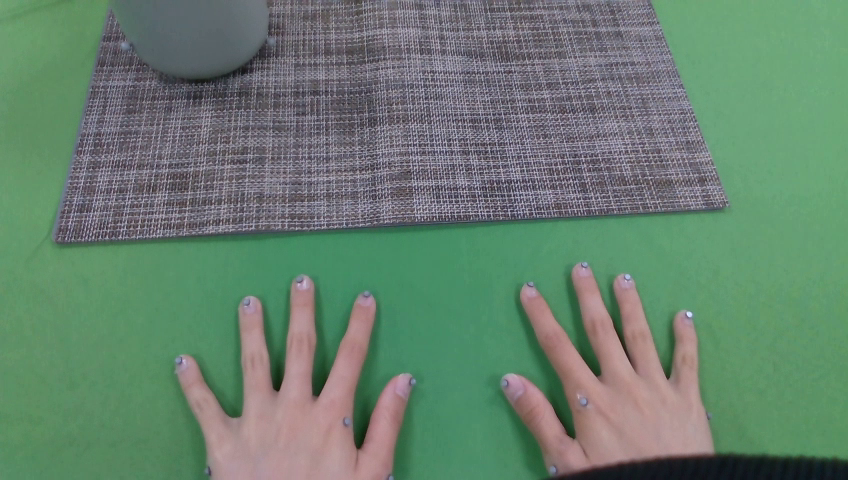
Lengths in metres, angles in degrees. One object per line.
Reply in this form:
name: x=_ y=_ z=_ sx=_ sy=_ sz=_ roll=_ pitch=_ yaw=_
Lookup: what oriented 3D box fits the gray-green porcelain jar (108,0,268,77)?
gray-green porcelain jar: x=-0.168 y=-0.187 z=0.417 sx=0.106 sy=0.127 sz=0.105 roll=1 pitch=61 yaw=-2
